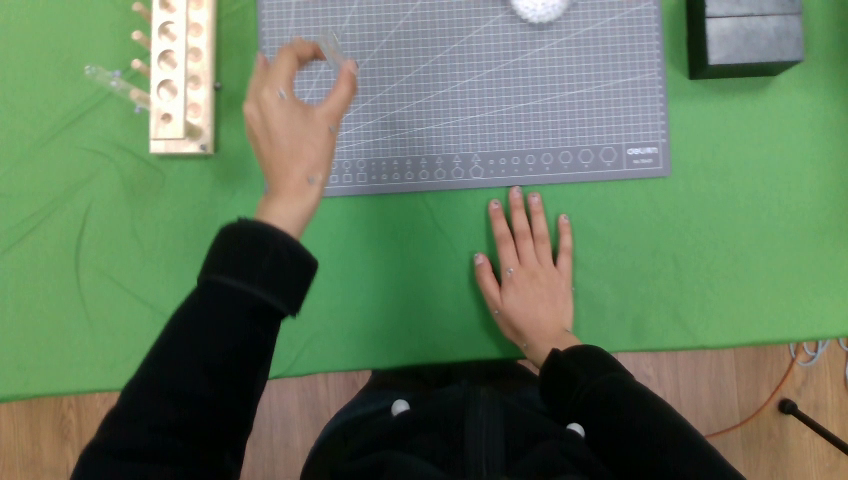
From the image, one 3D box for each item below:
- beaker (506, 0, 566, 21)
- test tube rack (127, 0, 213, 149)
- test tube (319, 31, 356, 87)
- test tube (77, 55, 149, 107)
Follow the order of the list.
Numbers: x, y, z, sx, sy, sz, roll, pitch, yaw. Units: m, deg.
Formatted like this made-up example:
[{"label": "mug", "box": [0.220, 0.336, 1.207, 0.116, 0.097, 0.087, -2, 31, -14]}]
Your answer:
[{"label": "beaker", "box": [0.125, -0.276, 0.628, 0.074, 0.100, 0.084, -32, 89, -1]}, {"label": "test tube rack", "box": [-0.270, -0.224, 0.638, 0.067, 0.085, 0.242, -1, 89, 0]}, {"label": "test tube", "box": [-0.076, -0.159, 0.545, 0.017, 0.150, 0.017, 0, 93, -1]}, {"label": "test tube", "box": [-0.291, -0.150, 0.591, 0.017, 0.150, 0.017, 0, 89, 0]}]
